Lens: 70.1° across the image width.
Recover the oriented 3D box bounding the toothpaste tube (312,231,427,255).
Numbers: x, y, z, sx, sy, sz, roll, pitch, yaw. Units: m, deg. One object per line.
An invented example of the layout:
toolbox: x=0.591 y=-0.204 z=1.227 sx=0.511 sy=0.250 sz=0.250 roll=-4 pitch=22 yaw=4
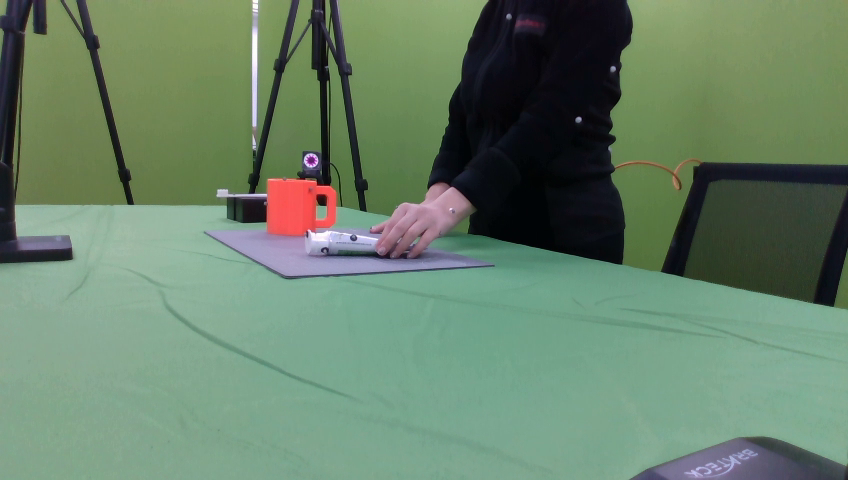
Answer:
toothpaste tube: x=-0.081 y=0.007 z=0.869 sx=0.166 sy=0.034 sz=0.055 roll=3 pitch=1 yaw=-19

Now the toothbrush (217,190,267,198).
toothbrush: x=-0.344 y=-0.096 z=1.282 sx=0.183 sy=0.016 sz=0.014 roll=-1 pitch=5 yaw=-27

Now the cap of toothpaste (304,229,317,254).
cap of toothpaste: x=-0.159 y=0.002 z=0.845 sx=0.011 sy=0.037 sz=0.037 roll=-2 pitch=8 yaw=-28

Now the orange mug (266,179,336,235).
orange mug: x=-0.222 y=-0.062 z=1.094 sx=0.127 sy=0.101 sz=0.083 roll=-5 pitch=10 yaw=-22
